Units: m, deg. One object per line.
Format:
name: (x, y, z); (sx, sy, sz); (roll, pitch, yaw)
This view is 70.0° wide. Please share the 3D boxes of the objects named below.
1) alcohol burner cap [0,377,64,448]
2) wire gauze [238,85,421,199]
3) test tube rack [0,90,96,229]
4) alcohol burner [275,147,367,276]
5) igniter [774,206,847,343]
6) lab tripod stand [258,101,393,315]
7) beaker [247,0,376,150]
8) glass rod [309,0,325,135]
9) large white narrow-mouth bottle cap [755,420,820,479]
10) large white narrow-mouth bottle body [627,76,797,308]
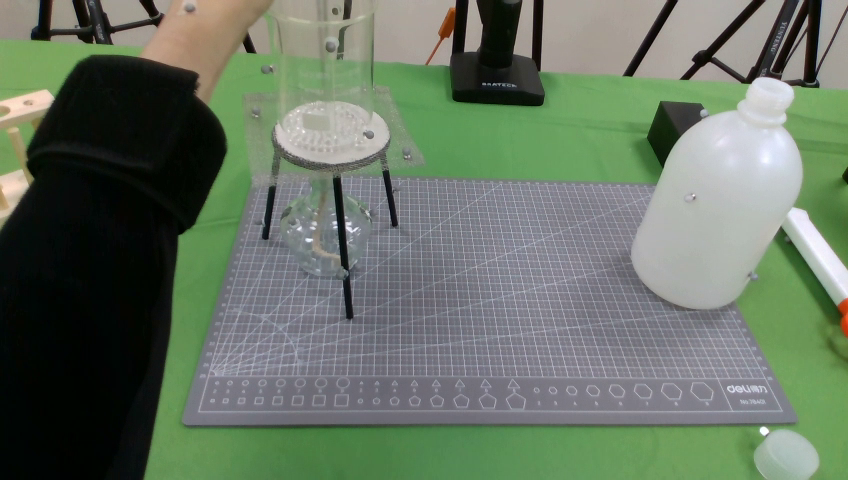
alcohol burner cap: (-0.261, 0.110, 0.396); (0.034, 0.048, 0.033); (5, 42, -4)
wire gauze: (-0.075, -0.083, 0.459); (0.122, 0.011, 0.123); (-9, 48, -14)
test tube rack: (-0.427, -0.043, 0.514); (0.242, 0.086, 0.066); (-30, 53, -33)
alcohol burner: (-0.086, -0.027, 0.510); (0.078, 0.120, 0.077); (5, 41, -4)
igniter: (0.377, 0.063, 0.531); (0.057, 0.025, 0.273); (10, 41, -11)
lab tripod stand: (-0.076, -0.033, 0.502); (0.148, 0.132, 0.147); (5, 43, -4)
beaker: (-0.077, -0.121, 0.428); (0.084, 0.101, 0.073); (-3, 44, -10)
glass rod: (-0.072, -0.164, 0.390); (0.008, 0.201, 0.008); (2, 29, -1)
large white narrow-mouth bottle cap: (0.256, 0.149, 0.427); (0.038, 0.024, 0.037); (3, 42, -2)
large white narrow-mouth bottle body: (0.241, -0.040, 0.500); (0.102, 0.196, 0.101); (3, 42, -2)
